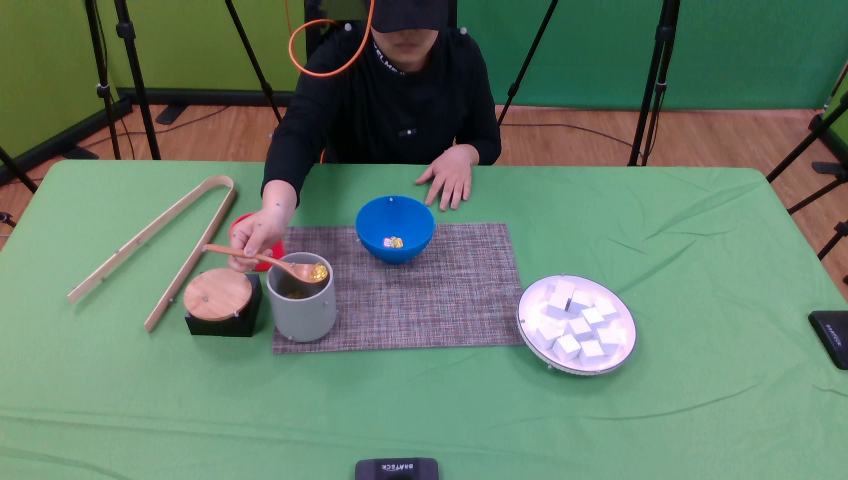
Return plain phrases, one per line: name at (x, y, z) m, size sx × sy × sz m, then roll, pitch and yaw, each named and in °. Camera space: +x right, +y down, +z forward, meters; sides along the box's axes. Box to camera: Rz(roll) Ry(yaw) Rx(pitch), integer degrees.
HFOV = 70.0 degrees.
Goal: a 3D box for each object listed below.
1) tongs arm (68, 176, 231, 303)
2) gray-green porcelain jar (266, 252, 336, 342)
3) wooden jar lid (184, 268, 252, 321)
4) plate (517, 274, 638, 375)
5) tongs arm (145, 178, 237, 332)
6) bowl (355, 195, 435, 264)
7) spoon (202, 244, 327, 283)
tongs arm at (-0.510, -0.010, 1.162) m, size 0.050 × 0.026 × 0.383 m, roll 20°, pitch 47°, yaw 14°
gray-green porcelain jar at (-0.202, 0.100, 1.009) m, size 0.106 × 0.127 × 0.105 m, roll 2°, pitch 46°, yaw -2°
wooden jar lid at (-0.343, 0.093, 1.015) m, size 0.108 × 0.021 × 0.107 m, roll 3°, pitch 46°, yaw -3°
plate at (0.264, 0.149, 1.060) m, size 0.209 × 0.038 × 0.208 m, roll 3°, pitch 46°, yaw -3°
tongs arm at (-0.432, 0.014, 1.149) m, size 0.028 × 0.028 × 0.385 m, roll 8°, pitch 46°, yaw 7°
bowl at (-0.056, -0.008, 1.158) m, size 0.151 × 0.077 × 0.150 m, roll 2°, pitch 46°, yaw -2°
spoon at (-0.249, 0.032, 0.957) m, size 0.194 × 0.022 × 0.041 m, roll 18°, pitch 41°, yaw -16°
